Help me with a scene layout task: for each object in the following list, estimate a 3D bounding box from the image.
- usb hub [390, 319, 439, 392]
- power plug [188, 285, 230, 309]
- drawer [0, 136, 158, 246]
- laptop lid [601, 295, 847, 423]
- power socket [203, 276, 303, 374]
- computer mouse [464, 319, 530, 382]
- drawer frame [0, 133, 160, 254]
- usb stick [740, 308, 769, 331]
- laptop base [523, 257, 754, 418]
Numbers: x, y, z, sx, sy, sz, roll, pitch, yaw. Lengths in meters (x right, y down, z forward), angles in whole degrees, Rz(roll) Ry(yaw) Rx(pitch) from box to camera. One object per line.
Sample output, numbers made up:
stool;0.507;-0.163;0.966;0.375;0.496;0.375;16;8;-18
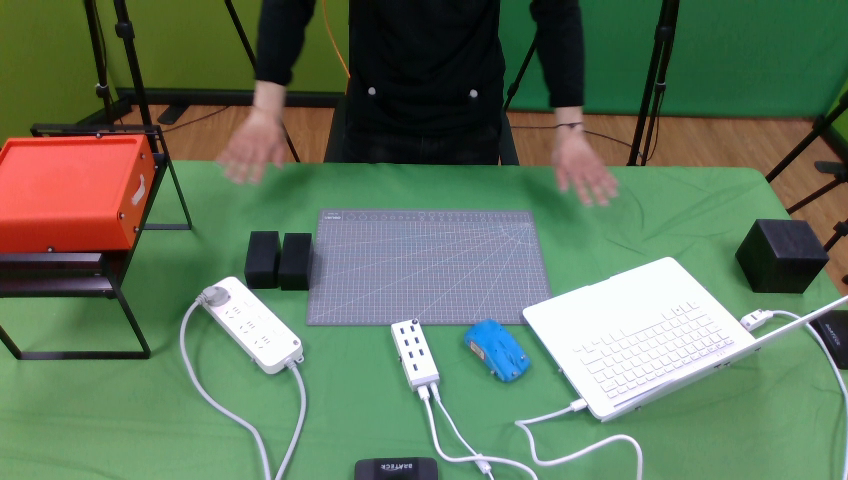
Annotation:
usb hub;-0.016;0.190;1.013;0.049;0.025;0.124;-11;48;-15
power plug;-0.370;0.103;1.039;0.072;0.053;0.035;-26;54;-23
drawer;-0.545;-0.076;0.941;0.212;0.073;0.193;-2;47;-6
laptop lid;0.449;0.179;0.905;0.357;0.242;0.013;-17;64;-20
power socket;-0.296;0.141;1.034;0.072;0.033;0.225;-35;58;-31
computer mouse;0.124;0.182;1.023;0.063;0.041;0.116;-28;58;-29
drawer frame;-0.547;-0.075;0.939;0.214;0.083;0.200;-3;47;-6
usb stick;0.587;0.146;1.088;0.059;0.027;0.021;-21;48;-17
laptop base;0.380;0.160;1.077;0.355;0.023;0.234;-17;47;-20
